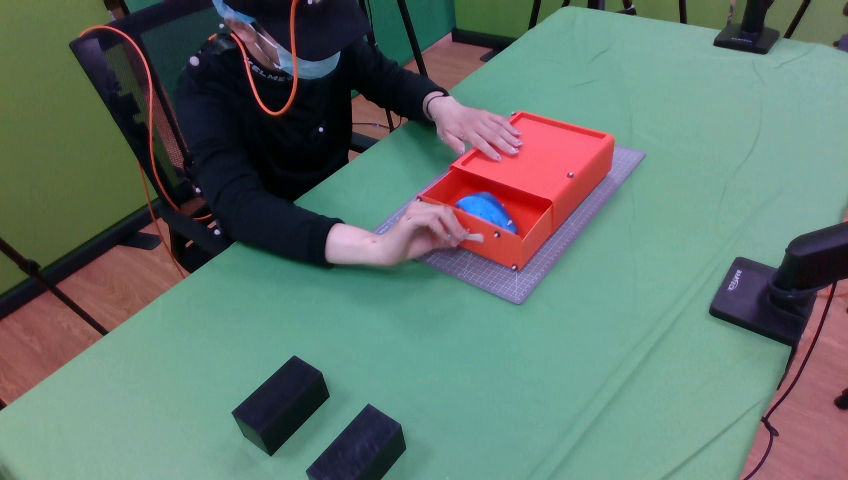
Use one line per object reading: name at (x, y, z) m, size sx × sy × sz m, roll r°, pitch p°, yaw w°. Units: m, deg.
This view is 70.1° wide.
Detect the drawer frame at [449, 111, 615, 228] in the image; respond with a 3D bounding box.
drawer frame at (0.185, -0.123, 1.035) m, size 0.200 × 0.083 × 0.214 m, roll 23°, pitch 48°, yaw 31°

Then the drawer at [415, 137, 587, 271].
drawer at (0.125, -0.068, 0.973) m, size 0.193 × 0.073 × 0.212 m, roll 24°, pitch 50°, yaw 30°

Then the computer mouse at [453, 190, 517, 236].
computer mouse at (0.097, -0.040, 0.965) m, size 0.063 × 0.041 × 0.116 m, roll -17°, pitch 50°, yaw -21°
